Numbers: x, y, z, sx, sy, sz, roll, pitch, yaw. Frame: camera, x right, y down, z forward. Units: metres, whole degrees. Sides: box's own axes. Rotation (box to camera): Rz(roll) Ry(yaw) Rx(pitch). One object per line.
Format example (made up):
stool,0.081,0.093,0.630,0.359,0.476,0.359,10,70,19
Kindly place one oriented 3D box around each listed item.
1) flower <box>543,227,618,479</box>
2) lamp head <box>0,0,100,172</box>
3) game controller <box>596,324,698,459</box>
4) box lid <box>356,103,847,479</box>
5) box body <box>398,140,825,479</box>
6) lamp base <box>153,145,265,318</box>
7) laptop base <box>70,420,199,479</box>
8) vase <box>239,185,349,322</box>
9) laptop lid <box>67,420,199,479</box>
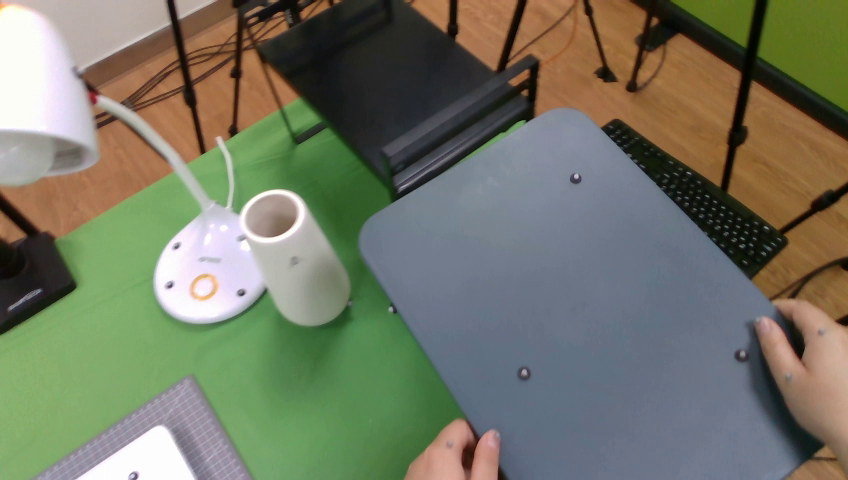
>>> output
flower,0.191,0.141,0.708,0.044,0.038,0.358,-21,54,23
lamp head,-0.317,-0.122,0.475,0.112,0.113,0.122,-8,76,0
game controller,0.252,0.165,0.684,0.097,0.052,0.154,-1,60,0
box lid,0.132,0.055,0.515,0.263,0.015,0.368,-32,66,-10
box body,0.175,0.102,0.662,0.254,0.162,0.360,-32,62,-14
lamp base,-0.292,-0.018,0.761,0.160,0.182,0.177,-5,56,2
laptop base,-0.374,0.382,0.621,0.354,0.023,0.233,-35,66,-15
vase,-0.153,0.020,0.716,0.098,0.202,0.097,-3,58,5
laptop lid,-0.374,0.378,0.610,0.357,0.013,0.239,-33,65,-14
